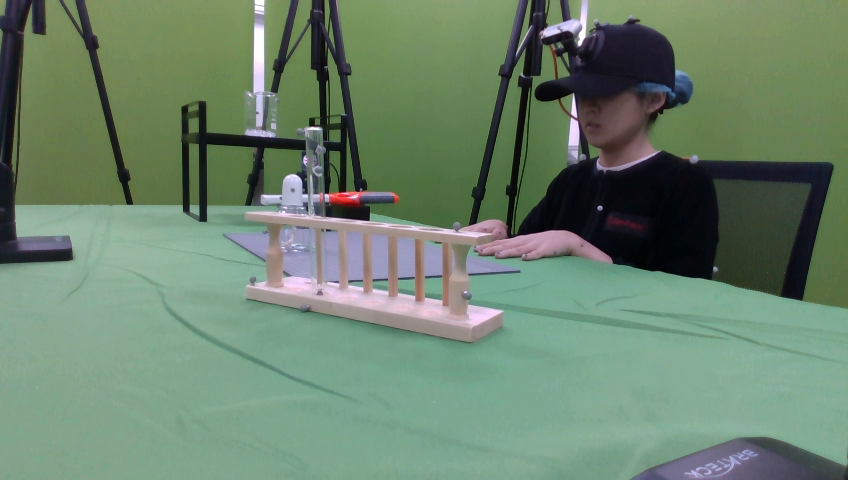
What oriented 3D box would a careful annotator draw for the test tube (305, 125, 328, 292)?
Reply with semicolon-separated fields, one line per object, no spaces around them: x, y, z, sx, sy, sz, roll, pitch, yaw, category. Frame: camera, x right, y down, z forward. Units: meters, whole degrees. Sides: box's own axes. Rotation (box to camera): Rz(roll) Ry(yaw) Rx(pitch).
-0.096;-0.027;0.546;0.017;0.150;0.017;0;8;0;test tube

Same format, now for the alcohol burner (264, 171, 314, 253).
-0.194;-0.042;0.888;0.078;0.119;0.078;3;5;0;alcohol burner

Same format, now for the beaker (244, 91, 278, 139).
-0.367;-0.280;1.356;0.074;0.100;0.084;4;8;6;beaker

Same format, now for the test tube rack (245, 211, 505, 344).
-0.049;0.025;0.547;0.241;0.085;0.067;7;8;29;test tube rack

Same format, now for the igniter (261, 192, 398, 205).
-0.185;-0.083;1.217;0.278;0.025;0.057;-2;12;-25;igniter

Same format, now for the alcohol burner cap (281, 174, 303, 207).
-0.193;-0.072;0.884;0.034;0.048;0.034;1;5;0;alcohol burner cap
